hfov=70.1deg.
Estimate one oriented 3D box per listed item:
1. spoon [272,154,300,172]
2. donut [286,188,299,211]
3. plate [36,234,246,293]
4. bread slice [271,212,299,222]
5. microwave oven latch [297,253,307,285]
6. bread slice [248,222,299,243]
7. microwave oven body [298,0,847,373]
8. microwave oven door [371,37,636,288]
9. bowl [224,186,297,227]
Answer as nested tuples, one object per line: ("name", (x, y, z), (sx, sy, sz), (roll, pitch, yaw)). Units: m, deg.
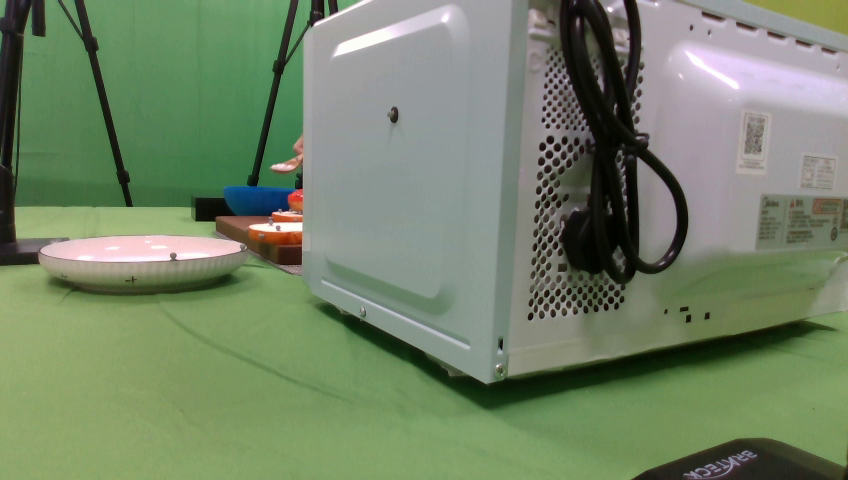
("spoon", (-0.215, -0.174, 1.171), (0.041, 0.021, 0.194), (17, 43, 37))
("donut", (-0.190, -0.068, 1.055), (0.099, 0.048, 0.099), (3, 7, 0))
("plate", (-0.305, 0.026, 0.668), (0.208, 0.039, 0.207), (3, 7, 0))
("bread slice", (-0.197, -0.038, 1.051), (0.132, 0.019, 0.104), (0, 6, -31))
("microwave oven latch", (-0.082, 0.027, 0.582), (0.079, 0.029, 0.030), (-1, 7, -32))
("bread slice", (-0.174, -0.012, 0.844), (0.135, 0.018, 0.106), (-6, 10, -44))
("microwave oven body", (0.151, -0.055, 0.543), (0.444, 0.260, 0.324), (-2, 7, -33))
("microwave oven door", (0.109, -0.080, 0.686), (0.358, 0.243, 0.039), (-2, 9, -33))
("bowl", (-0.329, -0.068, 1.230), (0.151, 0.077, 0.151), (3, 7, 0))
